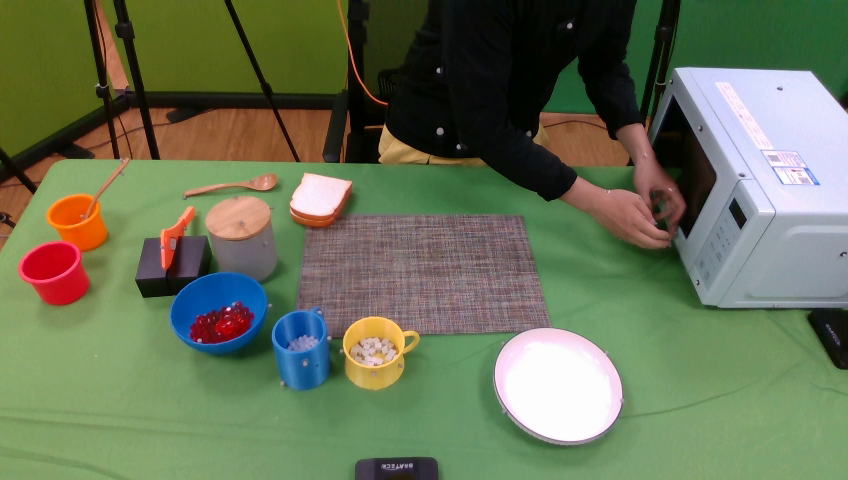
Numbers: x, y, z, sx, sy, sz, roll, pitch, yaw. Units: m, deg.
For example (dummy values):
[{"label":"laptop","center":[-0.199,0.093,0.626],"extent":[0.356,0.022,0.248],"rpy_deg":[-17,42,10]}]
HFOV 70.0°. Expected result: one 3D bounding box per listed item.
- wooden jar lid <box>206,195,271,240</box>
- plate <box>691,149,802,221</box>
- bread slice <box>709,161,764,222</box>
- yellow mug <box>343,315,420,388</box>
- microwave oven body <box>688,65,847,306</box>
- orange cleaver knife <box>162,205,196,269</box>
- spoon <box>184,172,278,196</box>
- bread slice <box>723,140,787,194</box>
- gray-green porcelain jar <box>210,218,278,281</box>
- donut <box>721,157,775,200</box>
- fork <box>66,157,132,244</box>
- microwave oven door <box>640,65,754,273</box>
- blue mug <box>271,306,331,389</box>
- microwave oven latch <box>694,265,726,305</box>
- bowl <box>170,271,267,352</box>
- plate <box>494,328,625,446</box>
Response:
[{"label":"wooden jar lid","center":[-0.319,-0.036,1.046],"extent":[0.108,0.021,0.107],"rpy_deg":[1,44,0]},{"label":"plate","center":[0.652,-0.109,1.238],"extent":[0.209,0.038,0.208],"rpy_deg":[-1,47,1]},{"label":"bread slice","center":[0.652,-0.106,1.260],"extent":[0.105,0.019,0.131],"rpy_deg":[10,68,9]},{"label":"yellow mug","center":[-0.067,0.177,0.990],"extent":[0.131,0.064,0.099],"rpy_deg":[-16,50,-19]},{"label":"microwave oven body","center":[0.670,-0.111,1.176],"extent":[0.326,0.261,0.439],"rpy_deg":[0,46,-3]},{"label":"orange cleaver knife","center":[-0.454,-0.010,1.129],"extent":[0.012,0.077,0.210],"rpy_deg":[-2,20,-5]},{"label":"spoon","center":[-0.405,-0.116,1.275],"extent":[0.194,0.022,0.041],"rpy_deg":[-8,65,-12]},{"label":"bread slice","center":[0.661,-0.147,1.200],"extent":[0.107,0.018,0.133],"rpy_deg":[0,54,10]},{"label":"gray-green porcelain jar","center":[-0.322,0.007,1.092],"extent":[0.106,0.127,0.105],"rpy_deg":[2,46,-2]},{"label":"donut","center":[0.648,-0.124,1.214],"extent":[0.099,0.048,0.098],"rpy_deg":[-4,55,5]},{"label":"fork","center":[-0.608,-0.074,1.133],"extent":[0.207,0.019,0.028],"rpy_deg":[-52,49,10]},{"label":"microwave oven door","center":[0.523,-0.147,1.193],"extent":[0.039,0.245,0.353],"rpy_deg":[0,47,-3]},{"label":"blue mug","center":[-0.187,0.163,0.969],"extent":[0.082,0.106,0.116],"rpy_deg":[15,47,10]},{"label":"microwave oven latch","center":[0.524,0.082,1.115],"extent":[0.030,0.029,0.078],"rpy_deg":[3,46,0]},{"label":"bowl","center":[-0.333,0.132,1.006],"extent":[0.151,0.077,0.150],"rpy_deg":[2,46,-2]},{"label":"plate","center":[0.213,0.236,0.974],"extent":[0.208,0.039,0.206],"rpy_deg":[2,46,-2]}]
